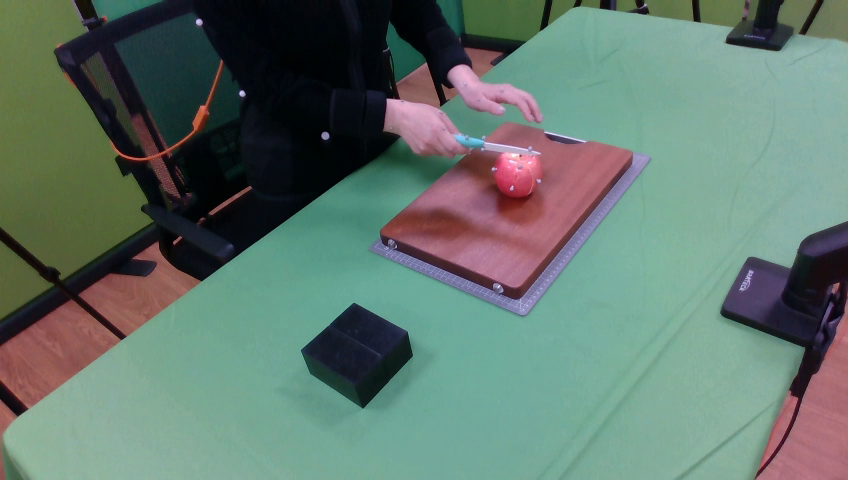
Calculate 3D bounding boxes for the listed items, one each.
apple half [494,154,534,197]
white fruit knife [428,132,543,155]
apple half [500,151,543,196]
[{"bbox_3d":[0.140,-0.098,0.989,0.080,0.081,0.033,27,50,35],"label":"apple half"},{"bbox_3d":[0.092,-0.151,0.955,0.206,0.027,0.016,13,75,29],"label":"white fruit knife"},{"bbox_3d":[0.167,-0.118,1.010,0.080,0.075,0.053,23,46,38],"label":"apple half"}]
